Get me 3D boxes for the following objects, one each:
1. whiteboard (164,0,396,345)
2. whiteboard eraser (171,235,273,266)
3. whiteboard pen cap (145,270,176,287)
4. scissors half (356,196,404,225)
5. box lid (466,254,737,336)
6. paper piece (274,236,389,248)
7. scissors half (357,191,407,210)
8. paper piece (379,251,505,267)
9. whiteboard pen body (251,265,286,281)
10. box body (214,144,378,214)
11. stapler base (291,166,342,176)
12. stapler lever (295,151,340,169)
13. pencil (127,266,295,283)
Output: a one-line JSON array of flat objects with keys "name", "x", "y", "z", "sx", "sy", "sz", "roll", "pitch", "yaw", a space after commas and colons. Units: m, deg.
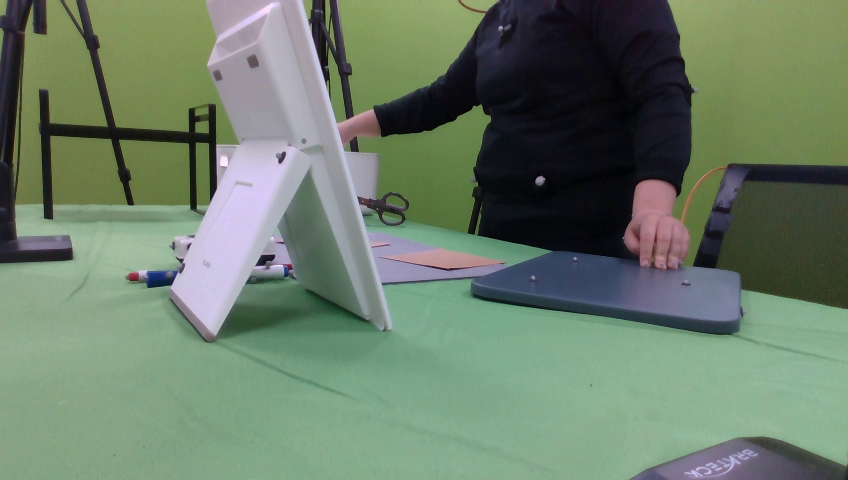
[{"name": "whiteboard", "x": -0.173, "y": -0.053, "z": 0.511, "sx": 0.144, "sy": 0.305, "sz": 0.216, "roll": -23, "pitch": 19, "yaw": -26}, {"name": "whiteboard eraser", "x": -0.248, "y": 0.014, "z": 0.747, "sx": 0.113, "sy": 0.042, "sz": 0.055, "roll": -1, "pitch": 10, "yaw": -32}, {"name": "whiteboard pen cap", "x": -0.271, "y": 0.039, "z": 0.627, "sx": 0.033, "sy": 0.018, "sz": 0.018, "roll": -3, "pitch": 10, "yaw": -32}, {"name": "scissors half", "x": -0.127, "y": -0.072, "z": 1.321, "sx": 0.175, "sy": 0.040, "sz": 0.013, "roll": 22, "pitch": 3, "yaw": -5}, {"name": "box lid", "x": 0.233, "y": 0.055, "z": 0.735, "sx": 0.262, "sy": 0.015, "sz": 0.373, "roll": 7, "pitch": 7, "yaw": 27}, {"name": "paper piece", "x": -0.151, "y": 0.003, "z": 0.978, "sx": 0.135, "sy": 0.008, "sz": 0.139, "roll": 13, "pitch": 10, "yaw": 35}, {"name": "scissors half", "x": -0.123, "y": -0.092, "z": 1.318, "sx": 0.175, "sy": 0.040, "sz": 0.013, "roll": 5, "pitch": 10, "yaw": -4}, {"name": "paper piece", "x": 0.025, "y": 0.026, "z": 0.865, "sx": 0.134, "sy": 0.004, "sz": 0.136, "roll": 7, "pitch": 7, "yaw": 43}, {"name": "whiteboard pen body", "x": -0.220, "y": 0.039, "z": 0.656, "sx": 0.141, "sy": 0.017, "sz": 0.017, "roll": -2, "pitch": 9, "yaw": -30}, {"name": "box body", "x": -0.328, "y": -0.154, "z": 1.543, "sx": 0.366, "sy": 0.160, "sz": 0.253, "roll": -2, "pitch": 9, "yaw": -32}, {"name": "stapler base", "x": -0.270, "y": -0.174, "z": 1.516, "sx": 0.131, "sy": 0.024, "sz": 0.041, "roll": -1, "pitch": 9, "yaw": -40}, {"name": "stapler lever", "x": -0.268, "y": -0.199, "z": 1.514, "sx": 0.119, "sy": 0.040, "sz": 0.026, "roll": -1, "pitch": 9, "yaw": -40}, {"name": "pencil", "x": -0.231, "y": 0.037, "z": 0.690, "sx": 0.195, "sy": 0.012, "sz": 0.012, "roll": -2, "pitch": 9, "yaw": -34}]
